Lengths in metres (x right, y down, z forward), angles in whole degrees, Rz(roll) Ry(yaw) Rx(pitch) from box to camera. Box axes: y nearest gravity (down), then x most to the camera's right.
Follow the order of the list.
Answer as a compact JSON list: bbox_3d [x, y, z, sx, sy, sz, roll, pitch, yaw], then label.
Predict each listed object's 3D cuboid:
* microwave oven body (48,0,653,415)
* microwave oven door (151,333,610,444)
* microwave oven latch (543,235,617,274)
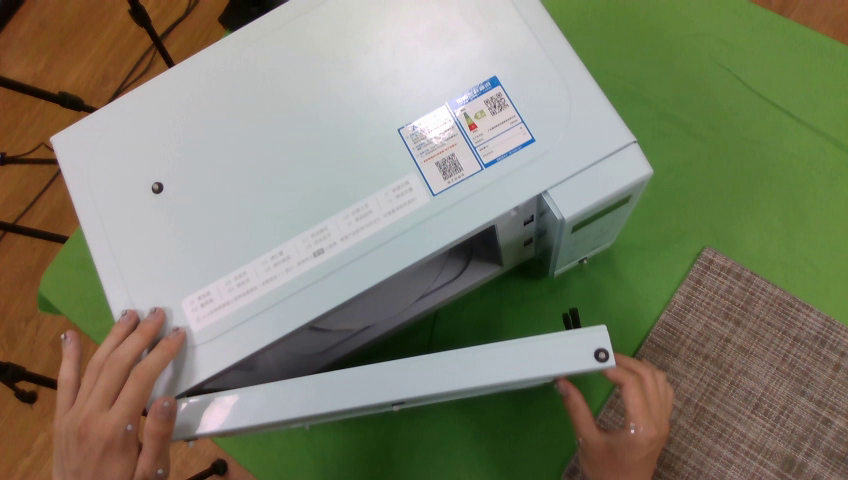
[{"bbox_3d":[-0.067,-0.055,0.620,0.442,0.262,0.324,-29,74,2],"label":"microwave oven body"},{"bbox_3d":[-0.021,0.137,0.562,0.355,0.245,0.039,-12,74,6],"label":"microwave oven door"},{"bbox_3d":[0.171,0.007,0.668,0.079,0.030,0.030,-28,74,2],"label":"microwave oven latch"}]
